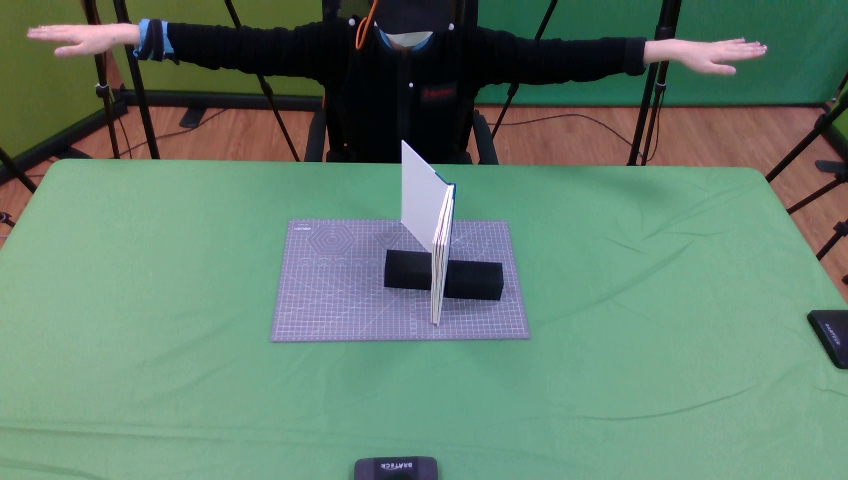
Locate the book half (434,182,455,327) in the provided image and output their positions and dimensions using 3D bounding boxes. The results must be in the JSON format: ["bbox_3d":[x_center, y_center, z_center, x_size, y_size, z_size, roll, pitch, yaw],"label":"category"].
[{"bbox_3d":[0.033,0.028,1.036,0.016,0.211,0.148,7,46,4],"label":"book half"}]

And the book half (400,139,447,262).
[{"bbox_3d":[-0.005,-0.066,1.124,0.007,0.211,0.142,-26,53,-24],"label":"book half"}]
